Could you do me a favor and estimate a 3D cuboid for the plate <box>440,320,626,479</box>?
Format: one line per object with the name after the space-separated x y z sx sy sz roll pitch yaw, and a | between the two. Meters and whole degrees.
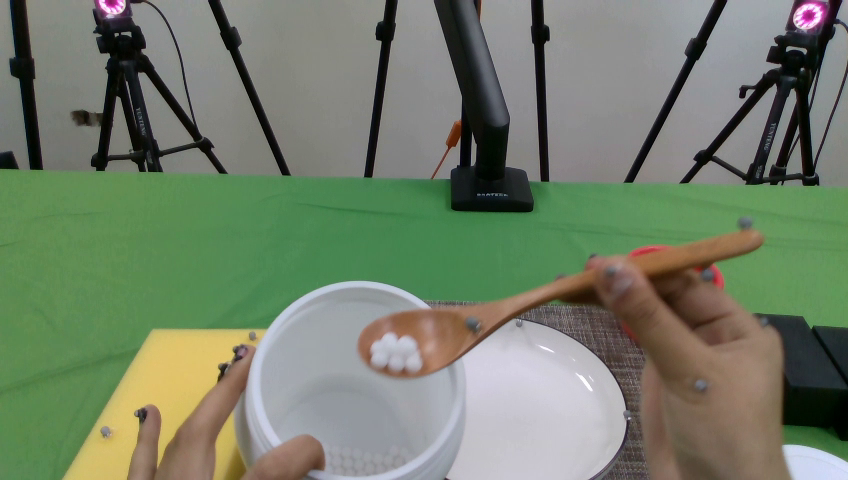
0.069 0.150 0.538 0.209 0.038 0.207 1 32 0 | plate

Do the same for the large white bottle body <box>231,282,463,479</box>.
-0.049 0.116 0.379 0.131 0.186 0.129 6 57 -9 | large white bottle body

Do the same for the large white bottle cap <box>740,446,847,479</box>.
0.307 0.212 0.470 0.115 0.018 0.114 3 33 -2 | large white bottle cap

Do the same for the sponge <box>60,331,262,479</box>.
-0.198 0.163 0.492 0.118 0.061 0.205 -1 32 1 | sponge

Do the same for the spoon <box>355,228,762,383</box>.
0.060 0.027 0.282 0.193 0.022 0.041 -20 40 8 | spoon
